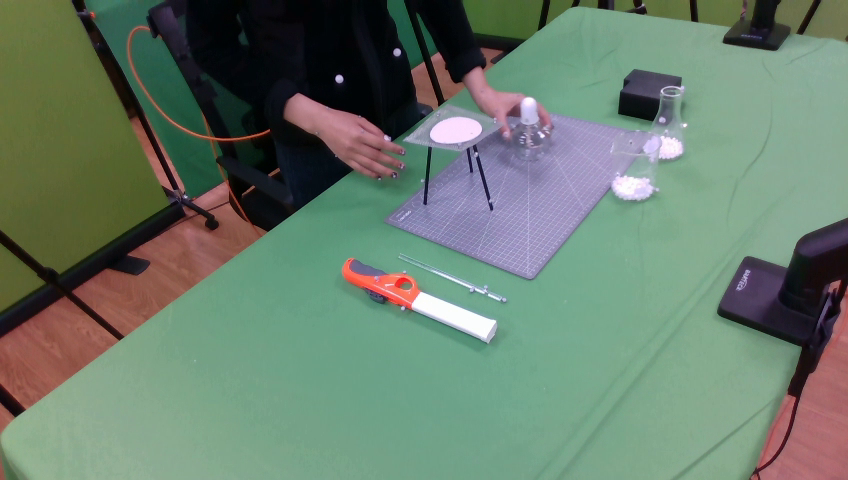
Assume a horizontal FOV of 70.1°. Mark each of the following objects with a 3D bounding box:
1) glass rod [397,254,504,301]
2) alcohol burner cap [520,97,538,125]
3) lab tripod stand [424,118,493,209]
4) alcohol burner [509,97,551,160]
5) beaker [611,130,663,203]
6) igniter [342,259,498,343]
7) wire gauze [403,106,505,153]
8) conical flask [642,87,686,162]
[{"bbox_3d":[0.036,0.054,0.922,0.198,0.008,0.008,21,50,31],"label":"glass rod"},{"bbox_3d":[0.189,-0.235,1.094,0.034,0.048,0.033,-9,45,9],"label":"alcohol burner cap"},{"bbox_3d":[0.061,-0.133,1.038,0.148,0.132,0.147,-6,38,6],"label":"lab tripod stand"},{"bbox_3d":[0.195,-0.209,1.118,0.078,0.120,0.077,-8,40,7],"label":"alcohol burner"},{"bbox_3d":[0.346,-0.118,0.998,0.084,0.101,0.073,-17,40,-7],"label":"beaker"},{"bbox_3d":[-0.017,0.084,0.883,0.274,0.025,0.057,20,59,31],"label":"igniter"},{"bbox_3d":[0.049,-0.181,0.992,0.120,0.011,0.125,23,48,34],"label":"wire gauze"},{"bbox_3d":[0.429,-0.206,1.067,0.075,0.122,0.075,-6,40,6],"label":"conical flask"}]
